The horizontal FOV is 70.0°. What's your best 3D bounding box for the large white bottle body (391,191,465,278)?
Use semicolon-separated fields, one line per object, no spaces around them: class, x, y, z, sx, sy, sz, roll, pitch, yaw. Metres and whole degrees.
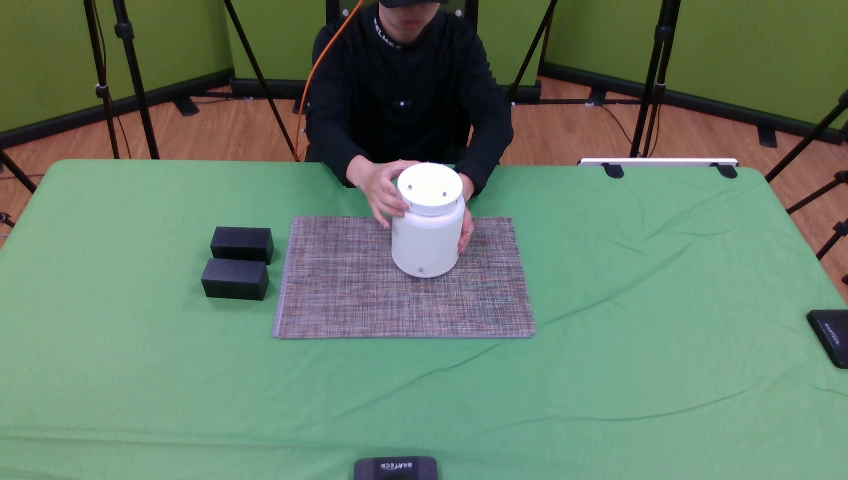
large white bottle body;0.005;-0.034;1.113;0.131;0.185;0.130;2;46;-2

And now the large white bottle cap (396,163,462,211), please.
large white bottle cap;0.008;-0.093;1.052;0.115;0.018;0.114;2;46;-2
